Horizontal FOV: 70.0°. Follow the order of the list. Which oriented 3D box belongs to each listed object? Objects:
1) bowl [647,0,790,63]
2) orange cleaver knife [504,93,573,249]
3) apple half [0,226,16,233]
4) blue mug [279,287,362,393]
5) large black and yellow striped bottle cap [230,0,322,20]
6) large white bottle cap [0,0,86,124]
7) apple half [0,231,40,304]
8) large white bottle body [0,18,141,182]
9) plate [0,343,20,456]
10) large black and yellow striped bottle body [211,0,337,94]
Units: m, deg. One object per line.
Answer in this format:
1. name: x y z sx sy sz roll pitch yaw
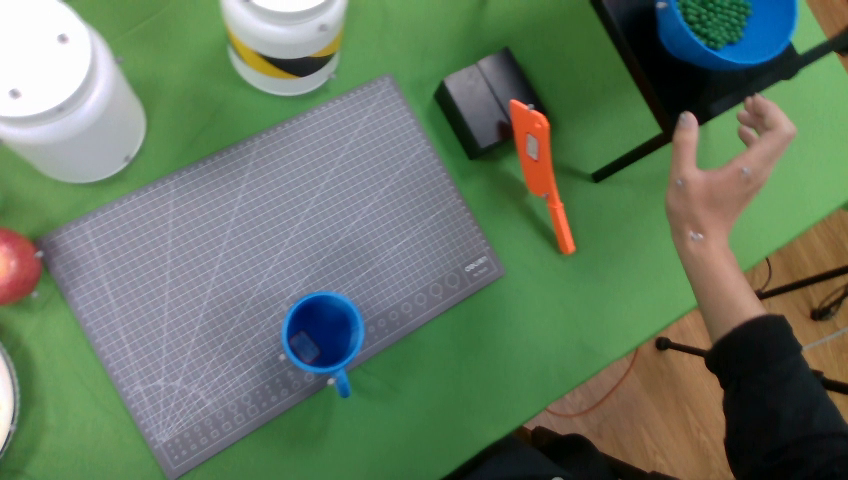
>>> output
1. bowl: 0.291 -0.247 0.636 0.152 0.077 0.151 2 81 -12
2. orange cleaver knife: 0.143 -0.083 0.757 0.012 0.076 0.213 -31 120 -16
3. apple half: -0.456 0.008 0.612 0.033 0.081 0.081 46 75 -7
4. blue mug: -0.108 0.112 0.658 0.082 0.106 0.116 -22 86 -15
5. large black and yellow striped bottle cap: -0.146 -0.270 0.583 0.115 0.019 0.114 2 82 -14
6. large white bottle cap: -0.353 -0.156 0.516 0.115 0.018 0.114 2 81 -12
7. apple half: -0.428 0.036 0.615 0.053 0.074 0.080 46 71 -6
8. large white bottle body: -0.370 -0.142 0.598 0.131 0.184 0.130 2 80 -12
9. plate: -0.511 0.164 0.594 0.210 0.038 0.208 2 81 -12
10. large black and yellow striped bottle body: -0.162 -0.254 0.663 0.131 0.184 0.130 2 80 -12
